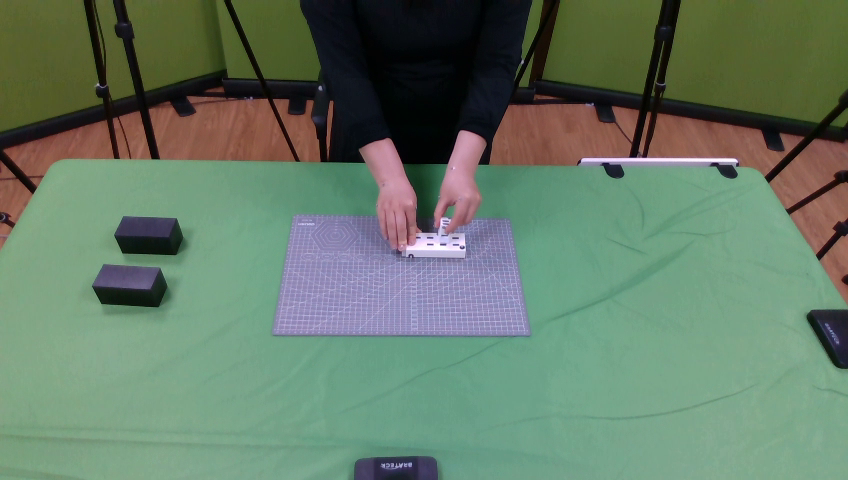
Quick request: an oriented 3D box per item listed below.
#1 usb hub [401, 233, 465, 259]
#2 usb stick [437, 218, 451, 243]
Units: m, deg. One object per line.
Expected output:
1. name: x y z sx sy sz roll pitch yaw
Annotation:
1. usb hub: 0.017 0.011 1.181 0.125 0.025 0.049 1 47 -1
2. usb stick: 0.037 -0.013 1.164 0.021 0.059 0.027 1 45 -6
